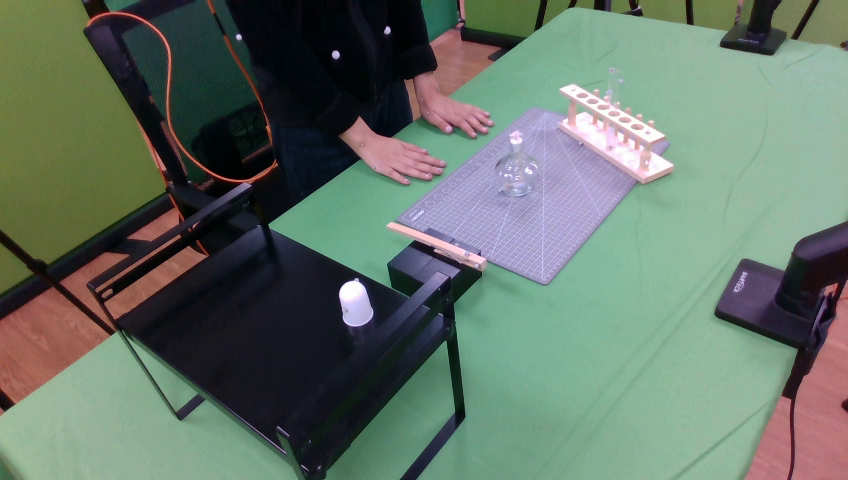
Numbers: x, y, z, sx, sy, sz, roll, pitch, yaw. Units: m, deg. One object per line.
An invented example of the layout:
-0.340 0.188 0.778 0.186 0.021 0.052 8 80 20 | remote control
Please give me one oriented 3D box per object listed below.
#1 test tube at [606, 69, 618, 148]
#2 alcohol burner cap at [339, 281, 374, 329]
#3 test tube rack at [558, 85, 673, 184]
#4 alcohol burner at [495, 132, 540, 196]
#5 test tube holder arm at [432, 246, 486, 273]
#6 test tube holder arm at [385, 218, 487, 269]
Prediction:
0.330 -0.228 1.064 0.017 0.151 0.017 -7 39 6 | test tube
-0.071 0.063 0.617 0.034 0.048 0.033 -5 39 4 | alcohol burner cap
0.347 -0.203 1.109 0.067 0.085 0.240 -22 42 -17 | test tube rack
0.159 -0.135 1.035 0.078 0.119 0.077 -5 42 5 | alcohol burner
0.050 0.024 0.870 0.087 0.010 0.015 26 39 29 | test tube holder arm
0.014 0.003 0.888 0.177 0.013 0.015 26 40 28 | test tube holder arm
